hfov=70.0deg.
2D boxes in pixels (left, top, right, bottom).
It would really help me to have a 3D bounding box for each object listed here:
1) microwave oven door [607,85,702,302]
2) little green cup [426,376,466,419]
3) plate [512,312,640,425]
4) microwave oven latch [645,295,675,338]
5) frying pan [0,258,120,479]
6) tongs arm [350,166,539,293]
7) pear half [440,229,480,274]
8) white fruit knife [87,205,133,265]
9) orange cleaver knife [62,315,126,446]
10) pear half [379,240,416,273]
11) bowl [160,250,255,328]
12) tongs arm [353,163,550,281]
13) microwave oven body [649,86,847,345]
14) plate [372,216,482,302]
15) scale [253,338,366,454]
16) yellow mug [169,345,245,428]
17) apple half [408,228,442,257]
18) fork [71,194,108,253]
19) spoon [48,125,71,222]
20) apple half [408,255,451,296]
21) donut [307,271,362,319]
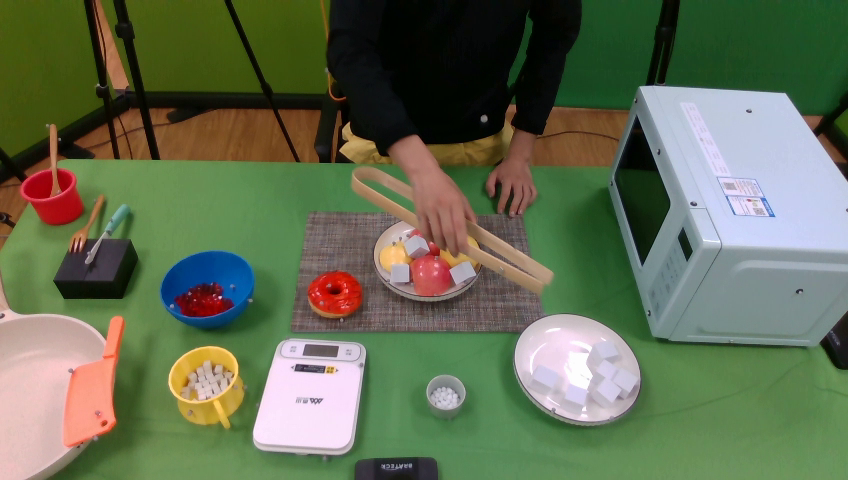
[{"bbox_3d":[0.423,-0.094,1.140,0.039,0.245,0.353,2,46,-1],"label":"microwave oven door"},{"bbox_3d":[0.033,0.248,0.950,0.061,0.039,0.061,2,46,-2],"label":"little green cup"},{"bbox_3d":[0.246,0.213,0.999,0.208,0.039,0.206,2,46,-2],"label":"plate"},{"bbox_3d":[0.411,0.134,1.061,0.030,0.029,0.078,3,45,0],"label":"microwave oven latch"},{"bbox_3d":[-0.647,0.164,0.936,0.307,0.103,0.485,-19,58,-22],"label":"frying pan"},{"bbox_3d":[0.018,-0.022,0.982,0.386,0.028,0.028,31,46,22],"label":"tongs arm"},{"bbox_3d":[0.065,0.007,1.150,0.076,0.056,0.109,-10,43,-2],"label":"pear half"},{"bbox_3d":[-0.584,-0.013,1.129,0.016,0.027,0.206,-1,32,-4],"label":"white fruit knife"},{"bbox_3d":[-0.480,0.199,0.887,0.077,0.012,0.210,-9,47,-8],"label":"orange cleaver knife"},{"bbox_3d":[-0.048,0.024,1.147,0.070,0.031,0.087,12,47,-11],"label":"pear half"},{"bbox_3d":[-0.362,0.098,1.040,0.151,0.077,0.150,2,45,-2],"label":"bowl"},{"bbox_3d":[0.034,-0.033,1.001,0.383,0.026,0.051,34,44,24],"label":"tongs arm"},{"bbox_3d":[0.567,-0.053,1.118,0.326,0.261,0.439,2,45,-1],"label":"microwave oven body"},{"bbox_3d":[0.006,0.038,1.145,0.209,0.038,0.208,2,46,-2],"label":"plate"},{"bbox_3d":[-0.175,0.236,0.951,0.149,0.032,0.199,5,46,-1],"label":"scale"},{"bbox_3d":[-0.322,0.230,0.922,0.100,0.064,0.130,-24,53,-25],"label":"yellow mug"},{"bbox_3d":[0.011,-0.006,1.176,0.081,0.033,0.081,1,52,-1],"label":"apple half"},{"bbox_3d":[-0.634,-0.036,1.158,0.028,0.019,0.206,-8,31,-8],"label":"fork"},{"bbox_3d":[-0.718,-0.131,1.188,0.041,0.021,0.193,-3,90,-7],"label":"spoon"},{"bbox_3d":[0.012,0.058,1.103,0.075,0.053,0.080,-6,43,-13],"label":"apple half"},{"bbox_3d":[-0.158,0.097,1.073,0.099,0.048,0.098,4,45,-4],"label":"donut"}]
